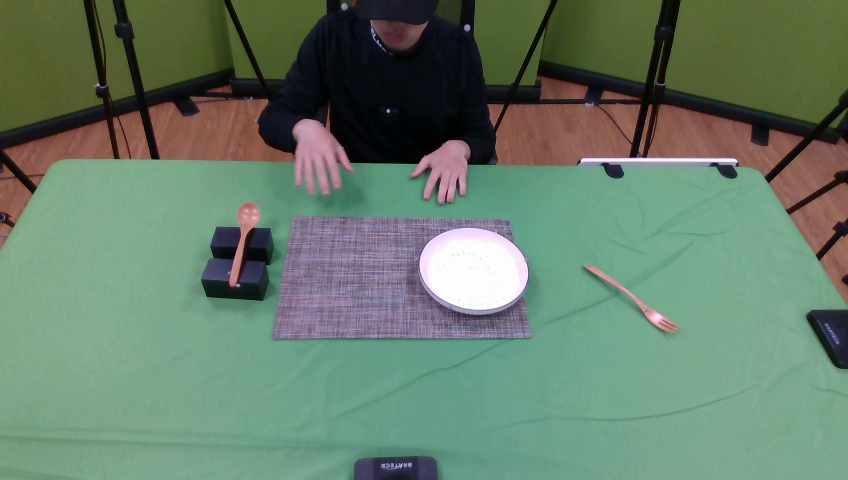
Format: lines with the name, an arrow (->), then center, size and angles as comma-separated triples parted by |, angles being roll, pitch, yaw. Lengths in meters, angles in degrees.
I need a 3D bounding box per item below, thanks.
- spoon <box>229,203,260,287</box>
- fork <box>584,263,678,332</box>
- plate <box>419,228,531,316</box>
spoon -> -0.331, 0.005, 1.100 | 0.042, 0.022, 0.192 | 17, 43, -19
fork -> 0.380, 0.103, 1.130 | 0.028, 0.019, 0.206 | -34, 58, -23
plate -> 0.093, 0.062, 1.131 | 0.208, 0.039, 0.206 | 2, 46, -2
